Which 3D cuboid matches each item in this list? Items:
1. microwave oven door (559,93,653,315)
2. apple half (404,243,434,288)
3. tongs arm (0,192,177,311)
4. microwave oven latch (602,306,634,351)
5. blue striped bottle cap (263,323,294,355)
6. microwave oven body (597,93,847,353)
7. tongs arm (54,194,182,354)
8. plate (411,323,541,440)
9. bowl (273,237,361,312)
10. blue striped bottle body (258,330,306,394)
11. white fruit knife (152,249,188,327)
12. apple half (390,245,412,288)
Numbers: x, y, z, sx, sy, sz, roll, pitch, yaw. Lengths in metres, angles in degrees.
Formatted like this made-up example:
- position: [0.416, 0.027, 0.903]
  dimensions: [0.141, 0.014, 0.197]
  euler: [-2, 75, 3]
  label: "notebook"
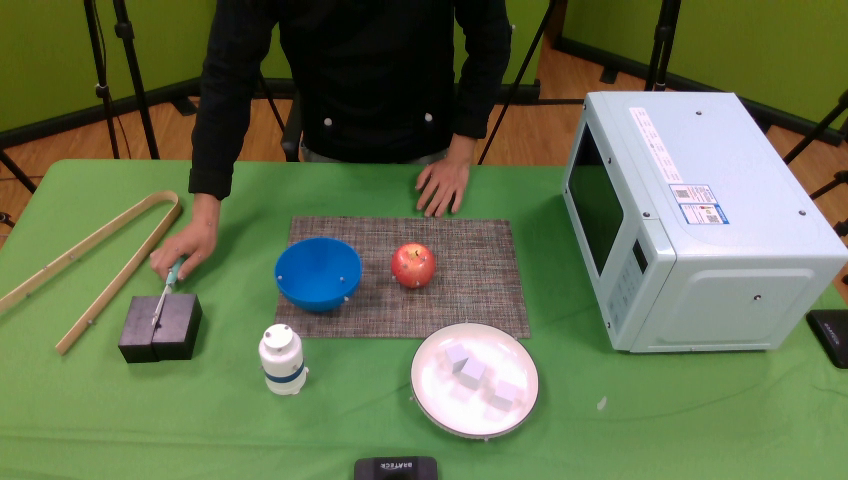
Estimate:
- position: [0.327, -0.074, 1.123]
  dimensions: [0.039, 0.245, 0.353]
  euler: [-1, 46, -5]
  label: "microwave oven door"
- position: [-0.008, 0.047, 1.115]
  dimensions: [0.053, 0.075, 0.080]
  euler: [-8, 44, -16]
  label: "apple half"
- position: [-0.618, 0.019, 1.123]
  dimensions: [0.050, 0.026, 0.384]
  euler: [23, 47, 17]
  label: "tongs arm"
- position: [0.332, 0.153, 1.044]
  dimensions: [0.030, 0.029, 0.078]
  euler: [-1, 45, -4]
  label: "microwave oven latch"
- position: [-0.217, 0.146, 0.900]
  dimensions: [0.044, 0.021, 0.044]
  euler: [1, 46, -1]
  label: "blue striped bottle cap"
- position: [0.475, -0.041, 1.109]
  dimensions: [0.326, 0.261, 0.438]
  euler: [-1, 45, -4]
  label: "microwave oven body"
- position: [-0.543, 0.048, 1.107]
  dimensions: [0.028, 0.028, 0.385]
  euler: [11, 45, 10]
  label: "tongs arm"
- position: [0.082, 0.228, 0.976]
  dimensions: [0.208, 0.039, 0.206]
  euler: [2, 45, -2]
  label: "plate"
- position: [-0.186, 0.075, 1.069]
  dimensions: [0.151, 0.077, 0.150]
  euler: [3, 45, -3]
  label: "bowl"
- position: [-0.220, 0.182, 0.937]
  dimensions: [0.063, 0.121, 0.062]
  euler: [2, 46, -2]
  label: "blue striped bottle body"
- position: [-0.438, 0.077, 1.047]
  dimensions: [0.016, 0.027, 0.206]
  euler: [-3, 36, -4]
  label: "white fruit knife"
- position: [-0.046, 0.053, 1.105]
  dimensions: [0.033, 0.081, 0.080]
  euler: [-8, 47, -16]
  label: "apple half"
